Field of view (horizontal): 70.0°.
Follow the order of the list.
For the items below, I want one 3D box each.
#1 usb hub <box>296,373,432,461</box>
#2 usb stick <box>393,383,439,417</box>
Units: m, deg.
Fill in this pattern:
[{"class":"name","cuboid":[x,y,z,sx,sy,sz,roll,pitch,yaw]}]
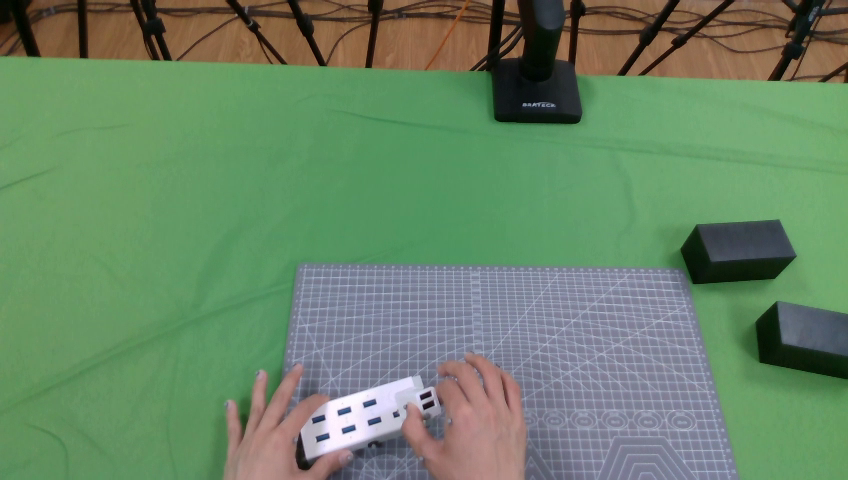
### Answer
[{"class":"usb hub","cuboid":[-0.058,0.171,0.592,0.125,0.025,0.049,-14,57,-11]},{"class":"usb stick","cuboid":[-0.011,0.147,0.556,0.021,0.059,0.027,-16,83,-30]}]
